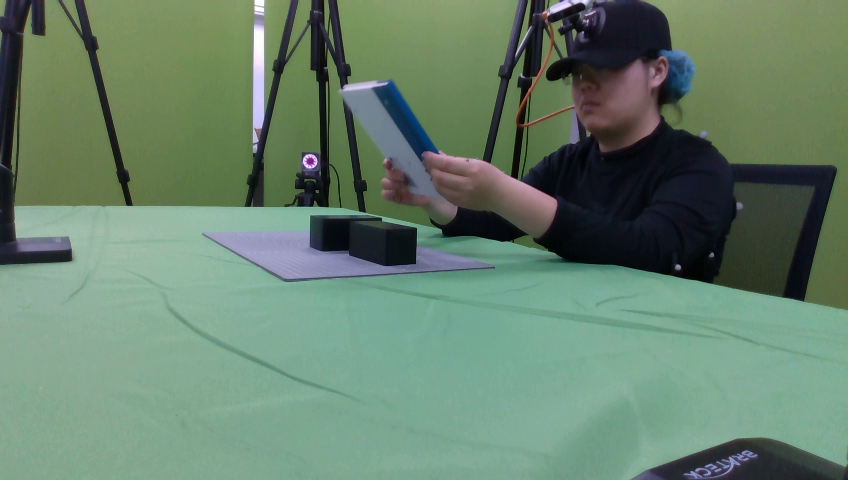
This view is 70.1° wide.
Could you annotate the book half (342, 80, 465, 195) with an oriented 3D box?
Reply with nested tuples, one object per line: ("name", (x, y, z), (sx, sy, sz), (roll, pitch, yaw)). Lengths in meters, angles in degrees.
("book half", (-0.032, -0.151, 0.923), (0.007, 0.211, 0.142), (-48, 31, -18))

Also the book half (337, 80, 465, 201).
("book half", (-0.035, -0.146, 0.919), (0.016, 0.211, 0.148), (-48, 31, -18))
